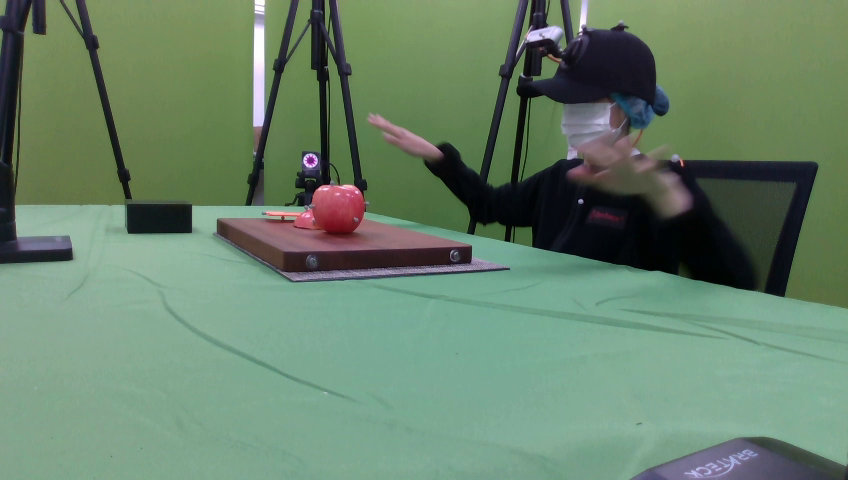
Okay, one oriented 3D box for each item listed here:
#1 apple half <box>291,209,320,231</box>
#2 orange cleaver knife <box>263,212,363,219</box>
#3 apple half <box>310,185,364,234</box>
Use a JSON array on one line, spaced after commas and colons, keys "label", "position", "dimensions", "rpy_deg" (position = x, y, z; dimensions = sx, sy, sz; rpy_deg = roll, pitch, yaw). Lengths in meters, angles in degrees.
[{"label": "apple half", "position": [-0.178, -0.036, 0.980], "dimensions": [0.081, 0.033, 0.081], "rpy_deg": [5, 9, 0]}, {"label": "orange cleaver knife", "position": [-0.192, -0.045, 1.097], "dimensions": [0.212, 0.012, 0.077], "rpy_deg": [0, 5, -38]}, {"label": "apple half", "position": [-0.123, -0.045, 0.906], "dimensions": [0.081, 0.074, 0.053], "rpy_deg": [2, 10, -42]}]
